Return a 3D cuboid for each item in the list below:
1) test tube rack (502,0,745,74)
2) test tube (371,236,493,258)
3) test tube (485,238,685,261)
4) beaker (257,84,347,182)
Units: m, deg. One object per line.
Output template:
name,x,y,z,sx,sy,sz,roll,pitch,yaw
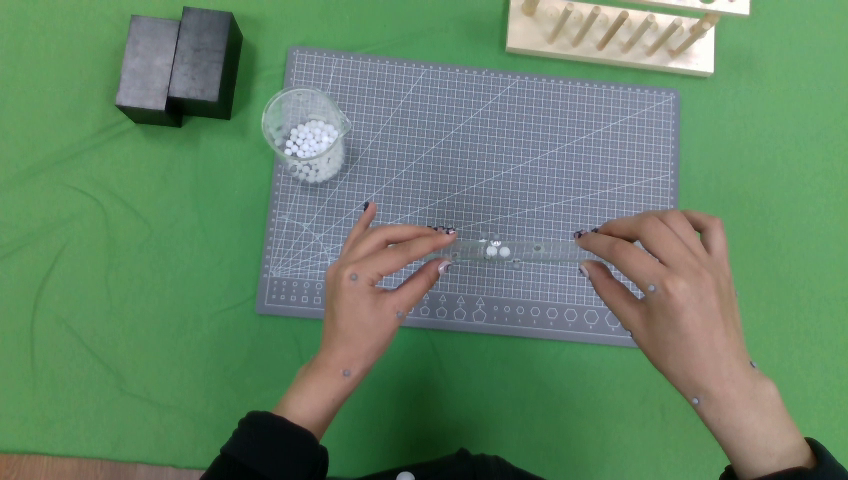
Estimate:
test tube rack,0.215,-0.246,0.671,0.242,0.085,0.066,6,81,-3
test tube,0.001,0.006,0.513,0.017,0.149,0.017,0,90,-39
test tube,0.121,0.007,0.456,0.150,0.017,0.017,1,81,-1
beaker,-0.118,-0.103,0.615,0.084,0.100,0.073,-2,81,-5
